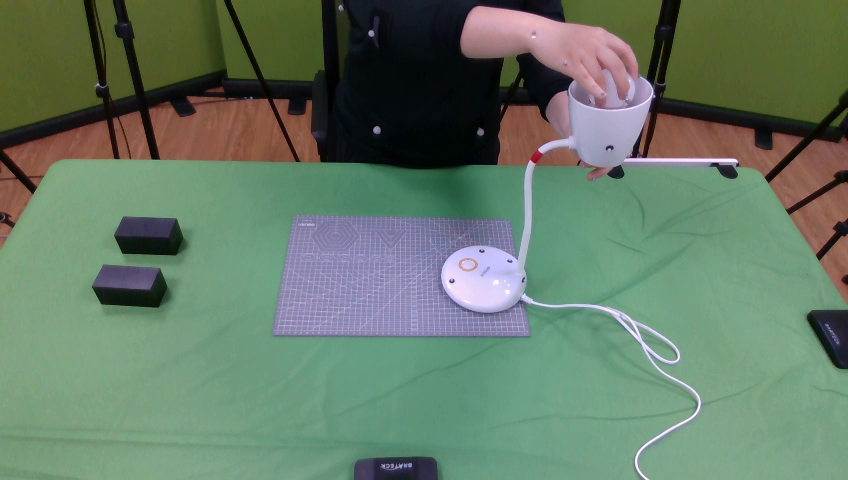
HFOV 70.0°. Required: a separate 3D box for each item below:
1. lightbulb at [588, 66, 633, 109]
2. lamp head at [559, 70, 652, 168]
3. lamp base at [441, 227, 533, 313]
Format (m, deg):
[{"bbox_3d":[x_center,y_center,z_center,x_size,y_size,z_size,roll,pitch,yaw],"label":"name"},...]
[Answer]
[{"bbox_3d":[0.256,-0.188,0.844,0.059,0.108,0.059,-2,39,2],"label":"lightbulb"},{"bbox_3d":[0.252,-0.164,0.860,0.112,0.123,0.111,0,42,0],"label":"lamp head"},{"bbox_3d":[0.126,0.022,1.071,0.179,0.181,0.160,23,49,14],"label":"lamp base"}]
